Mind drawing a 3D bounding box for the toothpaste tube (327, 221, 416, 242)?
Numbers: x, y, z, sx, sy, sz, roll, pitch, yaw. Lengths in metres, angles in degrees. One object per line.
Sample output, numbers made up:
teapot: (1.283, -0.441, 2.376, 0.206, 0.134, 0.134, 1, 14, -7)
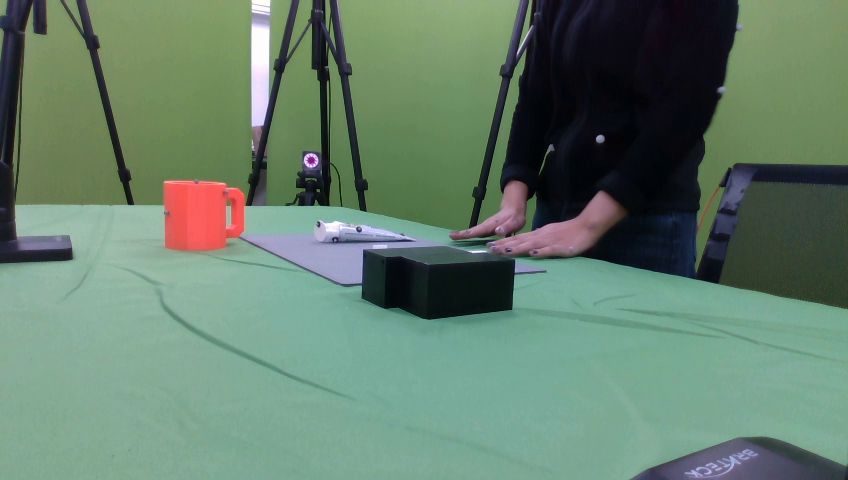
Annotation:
toothpaste tube: (-0.095, -0.012, 1.026, 0.166, 0.034, 0.055, 2, 13, -33)

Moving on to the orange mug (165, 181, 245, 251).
orange mug: (-0.326, -0.040, 0.911, 0.083, 0.101, 0.127, 8, 14, 37)

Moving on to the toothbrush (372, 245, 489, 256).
toothbrush: (0.012, 0.016, 0.875, 0.183, 0.016, 0.014, 1, -6, -22)

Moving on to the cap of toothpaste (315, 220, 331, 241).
cap of toothpaste: (-0.164, -0.016, 0.982, 0.011, 0.037, 0.037, -8, 12, -43)
